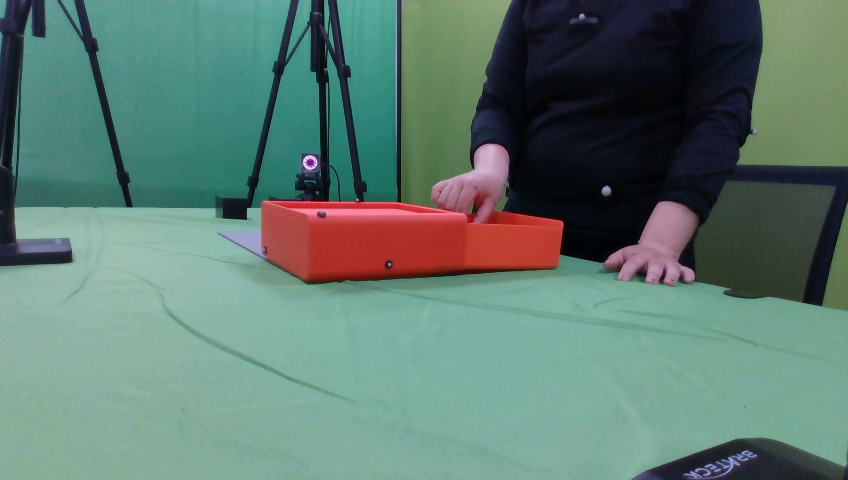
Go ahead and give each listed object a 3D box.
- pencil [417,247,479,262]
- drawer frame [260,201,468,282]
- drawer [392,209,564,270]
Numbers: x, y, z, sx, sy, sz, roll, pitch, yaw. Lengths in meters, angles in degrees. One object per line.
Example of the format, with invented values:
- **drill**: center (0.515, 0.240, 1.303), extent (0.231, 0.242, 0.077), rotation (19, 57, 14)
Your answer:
- **pencil**: center (0.041, 0.019, 0.877), extent (0.012, 0.012, 0.195), rotation (7, 6, 28)
- **drawer frame**: center (-0.084, -0.006, 0.794), extent (0.215, 0.082, 0.200), rotation (-2, 9, -30)
- **drawer**: center (0.058, -0.006, 0.880), extent (0.213, 0.073, 0.193), rotation (1, 8, -31)
